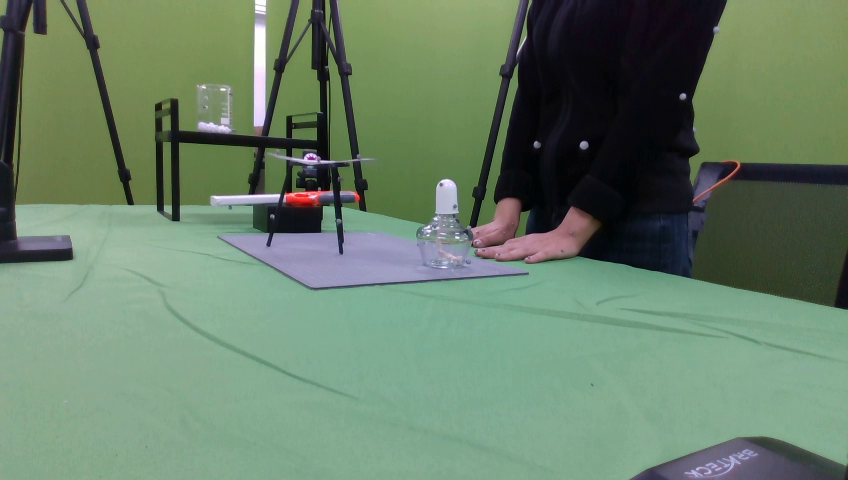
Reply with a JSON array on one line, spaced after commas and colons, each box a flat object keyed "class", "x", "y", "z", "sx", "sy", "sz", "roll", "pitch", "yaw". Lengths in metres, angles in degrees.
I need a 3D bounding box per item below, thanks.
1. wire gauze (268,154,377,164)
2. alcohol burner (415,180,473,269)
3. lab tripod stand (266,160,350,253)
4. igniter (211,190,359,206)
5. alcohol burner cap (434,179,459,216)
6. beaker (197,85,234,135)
[{"class": "wire gauze", "x": -0.154, "y": -0.120, "z": 0.910, "sx": 0.122, "sy": 0.011, "sz": 0.124, "roll": -5, "pitch": 11, "yaw": -44}, {"class": "alcohol burner", "x": 0.028, "y": -0.021, "z": 0.807, "sx": 0.078, "sy": 0.119, "sz": 0.078, "roll": 3, "pitch": 5, "yaw": 0}, {"class": "lab tripod stand", "x": -0.163, "y": -0.054, "z": 0.915, "sx": 0.148, "sy": 0.131, "sz": 0.148, "roll": 2, "pitch": 9, "yaw": 0}, {"class": "igniter", "x": -0.257, "y": -0.079, "z": 1.148, "sx": 0.278, "sy": 0.025, "sz": 0.057, "roll": -4, "pitch": 12, "yaw": -30}, {"class": "alcohol burner cap", "x": 0.031, "y": -0.056, "z": 0.802, "sx": 0.034, "sy": 0.048, "sz": 0.034, "roll": -1, "pitch": 10, "yaw": 0}, {"class": "beaker", "x": -0.444, "y": -0.275, "z": 1.283, "sx": 0.074, "sy": 0.100, "sz": 0.084, "roll": 5, "pitch": 8, "yaw": 22}]
